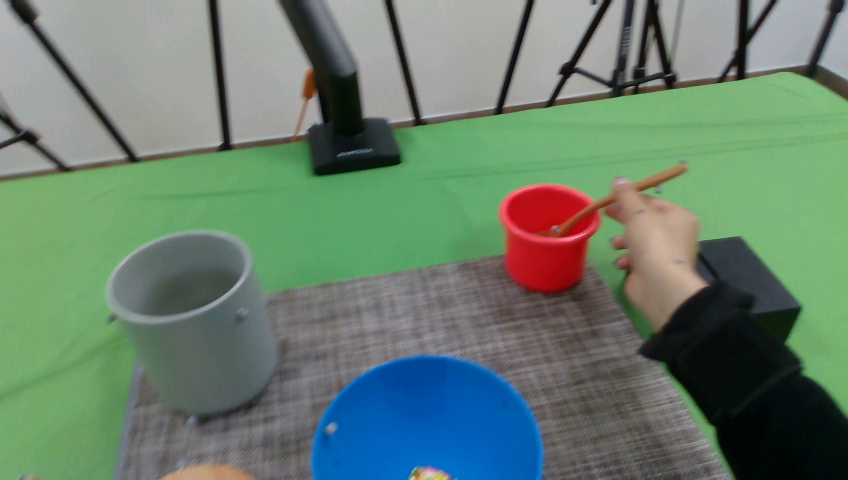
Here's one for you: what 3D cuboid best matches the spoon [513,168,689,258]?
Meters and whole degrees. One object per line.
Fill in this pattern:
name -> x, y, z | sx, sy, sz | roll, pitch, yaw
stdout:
spoon -> 0.163, -0.024, 0.584 | 0.022, 0.193, 0.041 | 48, 42, -9

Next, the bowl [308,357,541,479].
bowl -> 0.002, 0.163, 0.416 | 0.151, 0.077, 0.150 | -1, 39, 1

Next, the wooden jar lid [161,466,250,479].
wooden jar lid -> -0.160, 0.208, 0.414 | 0.108, 0.021, 0.107 | -2, 38, 2

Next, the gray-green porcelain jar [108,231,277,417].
gray-green porcelain jar -> -0.181, 0.073, 0.497 | 0.106, 0.127, 0.105 | -1, 39, 1
